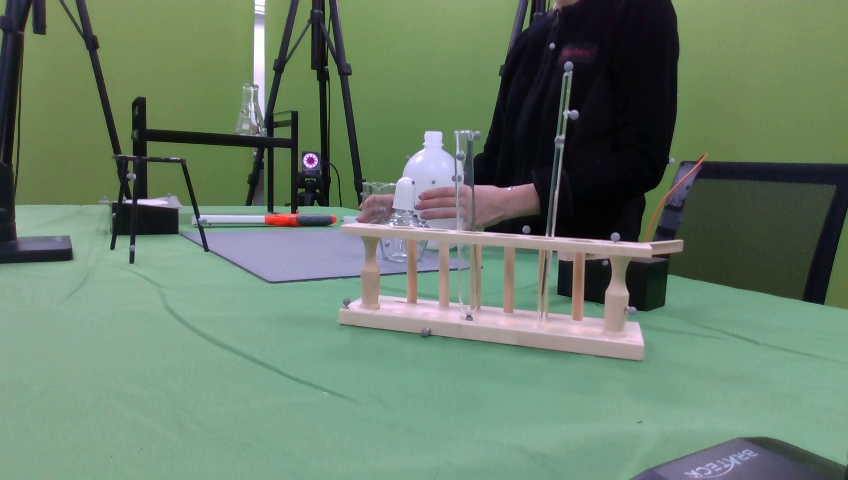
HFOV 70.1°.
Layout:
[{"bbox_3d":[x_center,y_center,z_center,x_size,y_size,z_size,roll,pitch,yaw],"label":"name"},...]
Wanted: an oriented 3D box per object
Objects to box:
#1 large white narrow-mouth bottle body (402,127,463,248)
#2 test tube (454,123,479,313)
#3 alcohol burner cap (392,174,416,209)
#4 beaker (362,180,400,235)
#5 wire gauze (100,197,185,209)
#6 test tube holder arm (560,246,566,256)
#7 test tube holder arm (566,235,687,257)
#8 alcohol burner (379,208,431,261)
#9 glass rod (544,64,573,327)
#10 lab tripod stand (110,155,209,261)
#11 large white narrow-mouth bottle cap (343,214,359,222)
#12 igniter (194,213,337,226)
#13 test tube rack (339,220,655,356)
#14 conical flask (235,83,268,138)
[{"bbox_3d":[0.015,-0.089,1.002,0.102,0.194,0.102,1,8,0],"label":"large white narrow-mouth bottle body"},{"bbox_3d":[0.034,-0.016,0.476,0.017,0.150,0.017,-2,9,1],"label":"test tube"},{"bbox_3d":[-0.025,-0.067,0.834,0.034,0.048,0.034,9,7,-1],"label":"alcohol burner cap"},{"bbox_3d":[-0.080,-0.062,1.142,0.074,0.100,0.084,2,8,1],"label":"beaker"},{"bbox_3d":[-0.469,-0.062,1.008,0.126,0.011,0.121,-2,8,-25],"label":"wire gauze"},{"bbox_3d":[0.173,0.007,0.611,0.088,0.015,0.010,-3,9,-30],"label":"test tube holder arm"},{"bbox_3d":[0.215,0.006,0.630,0.179,0.015,0.013,-3,9,-30],"label":"test tube holder arm"},{"bbox_3d":[-0.027,-0.031,0.838,0.078,0.119,0.078,0,6,0],"label":"alcohol burner"},{"bbox_3d":[0.101,-0.028,0.453,0.008,0.199,0.008,1,14,0],"label":"glass rod"},{"bbox_3d":[-0.361,-0.046,0.806,0.148,0.131,0.148,2,5,0],"label":"lab tripod stand"},{"bbox_3d":[-0.155,-0.043,1.282,0.038,0.024,0.037,2,8,0],"label":"large white narrow-mouth bottle cap"},{"bbox_3d":[-0.306,-0.041,1.197,0.278,0.025,0.057,-2,-2,-30],"label":"igniter"},{"bbox_3d":[0.056,0.032,0.495,0.242,0.085,0.067,4,7,15],"label":"test tube rack"},{"bbox_3d":[-0.402,-0.299,1.406,0.075,0.122,0.075,2,7,0],"label":"conical flask"}]
